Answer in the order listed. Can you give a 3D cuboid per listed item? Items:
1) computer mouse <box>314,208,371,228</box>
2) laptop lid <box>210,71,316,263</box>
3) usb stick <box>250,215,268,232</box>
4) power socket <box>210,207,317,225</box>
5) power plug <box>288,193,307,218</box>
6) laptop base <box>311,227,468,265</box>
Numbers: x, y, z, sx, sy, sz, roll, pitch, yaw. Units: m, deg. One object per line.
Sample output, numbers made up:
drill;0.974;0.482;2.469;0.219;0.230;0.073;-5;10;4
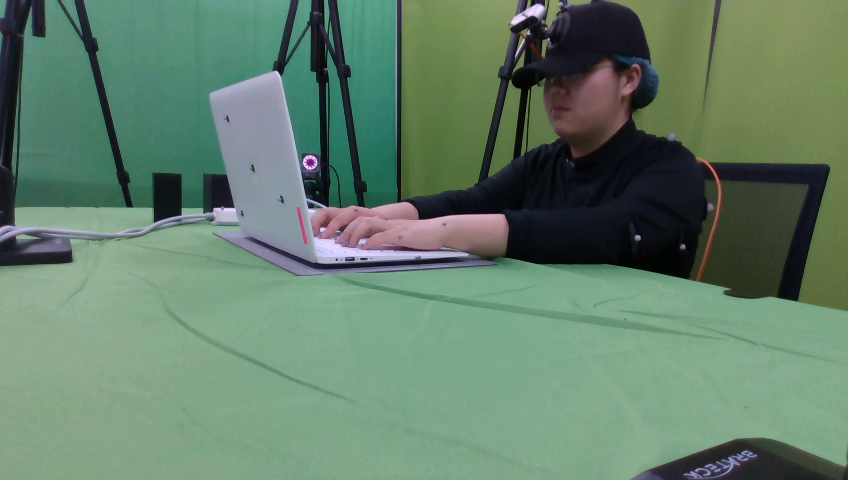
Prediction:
computer mouse;-0.173;-0.046;1.284;0.118;0.041;0.062;-7;13;-29
laptop lid;-0.241;-0.104;0.861;0.013;0.241;0.355;-16;17;-29
usb stick;-0.290;-0.028;1.069;0.021;0.027;0.059;-1;11;-30
power socket;-0.334;-0.051;1.281;0.228;0.032;0.072;-1;8;-28
power plug;-0.281;-0.076;1.340;0.035;0.052;0.072;4;5;-18
laptop base;-0.123;0.007;0.951;0.237;0.023;0.352;2;6;-32
